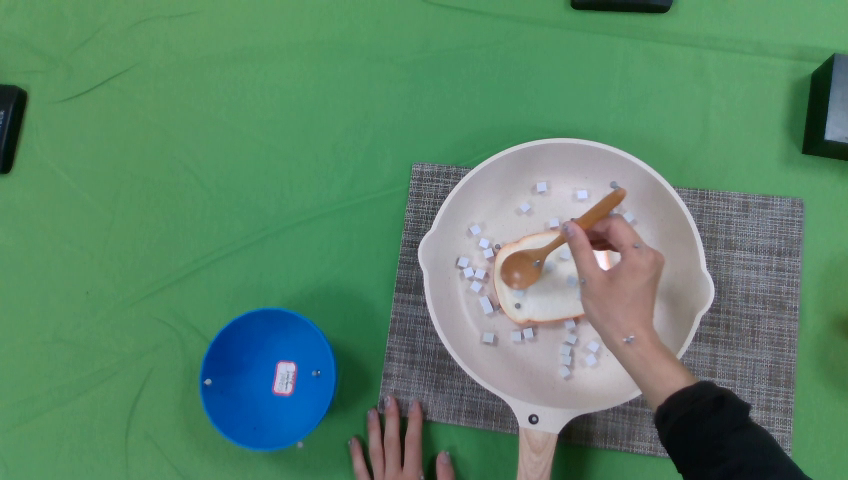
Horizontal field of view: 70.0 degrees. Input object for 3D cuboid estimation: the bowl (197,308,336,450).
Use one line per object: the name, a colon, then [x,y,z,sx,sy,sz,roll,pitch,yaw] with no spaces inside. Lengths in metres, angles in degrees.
bowl: [-0.165,0.154,0.682,0.151,0.077,0.151,-1,81,6]

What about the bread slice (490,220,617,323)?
bread slice: [0.143,0.042,0.689,0.134,0.018,0.106,-13,79,1]

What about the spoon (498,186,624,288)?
spoon: [0.132,0.001,0.602,0.021,0.194,0.041,-34,83,-34]

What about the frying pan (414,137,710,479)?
frying pan: [0.124,0.134,0.636,0.306,0.103,0.485,9,74,9]
